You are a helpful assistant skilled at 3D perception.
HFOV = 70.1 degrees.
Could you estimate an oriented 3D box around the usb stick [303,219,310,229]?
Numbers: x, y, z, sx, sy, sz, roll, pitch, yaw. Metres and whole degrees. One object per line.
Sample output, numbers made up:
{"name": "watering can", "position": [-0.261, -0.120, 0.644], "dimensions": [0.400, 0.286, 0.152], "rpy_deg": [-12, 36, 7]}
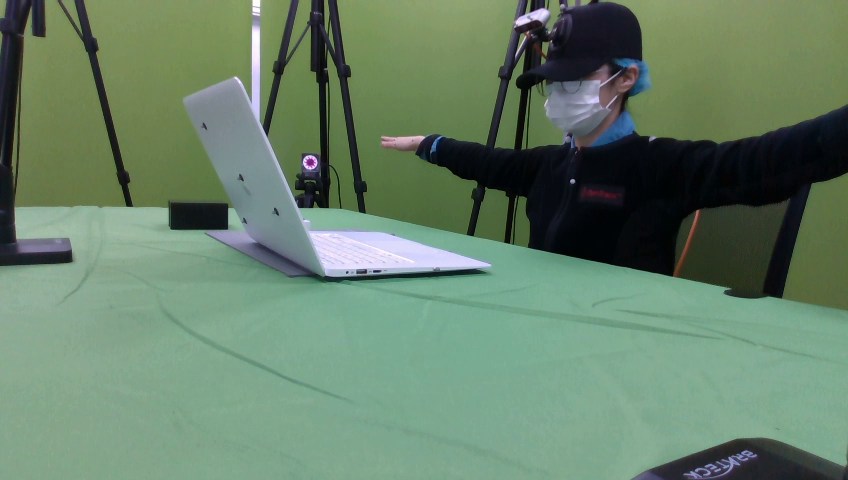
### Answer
{"name": "usb stick", "position": [-0.238, -0.024, 1.101], "dimensions": [0.021, 0.027, 0.059], "rpy_deg": [10, 13, 39]}

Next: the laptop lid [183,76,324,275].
{"name": "laptop lid", "position": [-0.237, -0.085, 0.791], "dimensions": [0.013, 0.242, 0.355], "rpy_deg": [-29, 22, -23]}

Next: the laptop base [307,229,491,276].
{"name": "laptop base", "position": [-0.094, 0.015, 0.888], "dimensions": [0.237, 0.023, 0.352], "rpy_deg": [2, 7, -30]}
